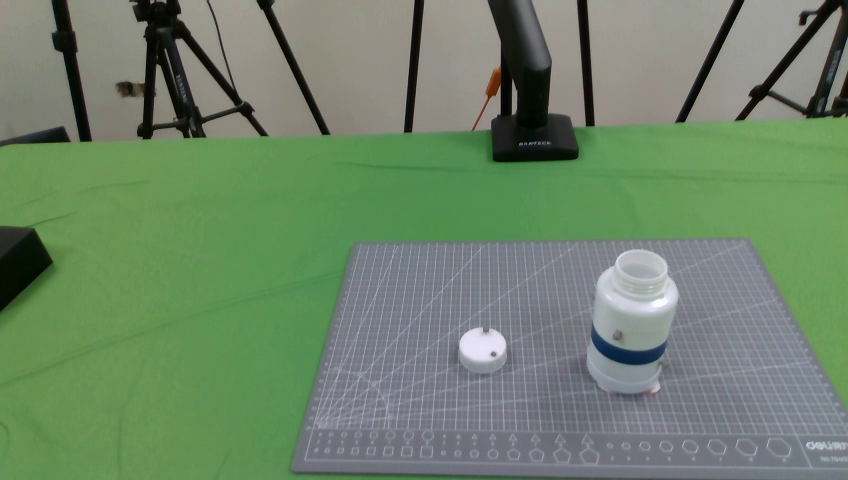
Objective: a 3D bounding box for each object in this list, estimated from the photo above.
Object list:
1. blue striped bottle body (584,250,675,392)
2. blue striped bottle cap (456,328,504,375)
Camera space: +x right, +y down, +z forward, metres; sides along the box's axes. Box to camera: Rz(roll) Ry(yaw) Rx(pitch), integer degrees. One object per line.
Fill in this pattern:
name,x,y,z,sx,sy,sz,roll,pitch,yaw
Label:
blue striped bottle body,0.171,0.066,0.507,0.063,0.122,0.062,-3,38,3
blue striped bottle cap,0.052,0.103,0.560,0.044,0.021,0.044,-2,36,2
